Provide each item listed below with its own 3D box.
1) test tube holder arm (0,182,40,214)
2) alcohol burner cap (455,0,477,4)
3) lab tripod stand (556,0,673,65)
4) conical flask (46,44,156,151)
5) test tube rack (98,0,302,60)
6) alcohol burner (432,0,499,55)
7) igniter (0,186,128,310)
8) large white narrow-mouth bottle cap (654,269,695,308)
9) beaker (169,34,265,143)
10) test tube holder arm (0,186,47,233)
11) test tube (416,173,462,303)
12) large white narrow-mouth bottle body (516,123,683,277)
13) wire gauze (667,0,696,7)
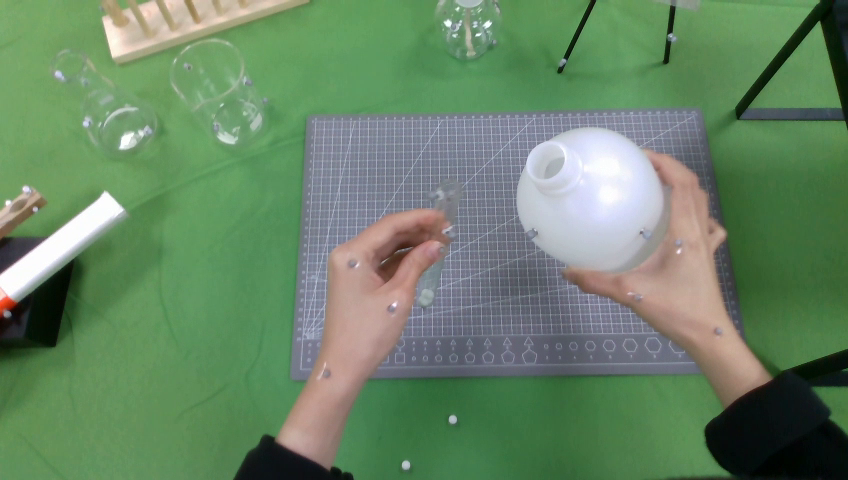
[{"bbox_3d":[-0.448,0.007,0.584,0.013,0.015,0.178,42,75,14],"label":"test tube holder arm"},{"bbox_3d":[0.046,-0.280,0.645,0.034,0.048,0.033,0,69,0],"label":"alcohol burner cap"},{"bbox_3d":[0.217,-0.267,0.666,0.148,0.132,0.147,0,69,0],"label":"lab tripod stand"},{"bbox_3d":[-0.343,-0.153,0.637,0.075,0.122,0.075,0,69,1],"label":"conical flask"},{"bbox_3d":[-0.269,-0.300,0.709,0.242,0.086,0.066,-21,71,-7],"label":"test tube rack"},{"bbox_3d":[0.048,-0.266,0.679,0.078,0.120,0.077,0,68,0],"label":"alcohol burner"},{"bbox_3d":[-0.402,0.048,0.566,0.057,0.025,0.276,42,73,12],"label":"igniter"},{"bbox_3d":[0.252,0.049,0.609,0.038,0.024,0.037,0,71,1],"label":"large white narrow-mouth bottle cap"},{"bbox_3d":[-0.217,-0.155,0.649,0.074,0.101,0.083,14,71,6],"label":"beaker"},{"bbox_3d":[-0.413,-0.019,0.594,0.088,0.015,0.010,-43,75,-14],"label":"test tube holder arm"},{"bbox_3d":[0.009,0.006,0.443,0.017,0.151,0.017,4,55,-5],"label":"test tube"},{"bbox_3d":[0.128,-0.033,0.462,0.101,0.196,0.101,-8,75,32],"label":"large white narrow-mouth bottle body"},{"bbox_3d":[0.223,-0.292,0.603,0.121,0.011,0.124,20,72,6],"label":"wire gauze"}]
